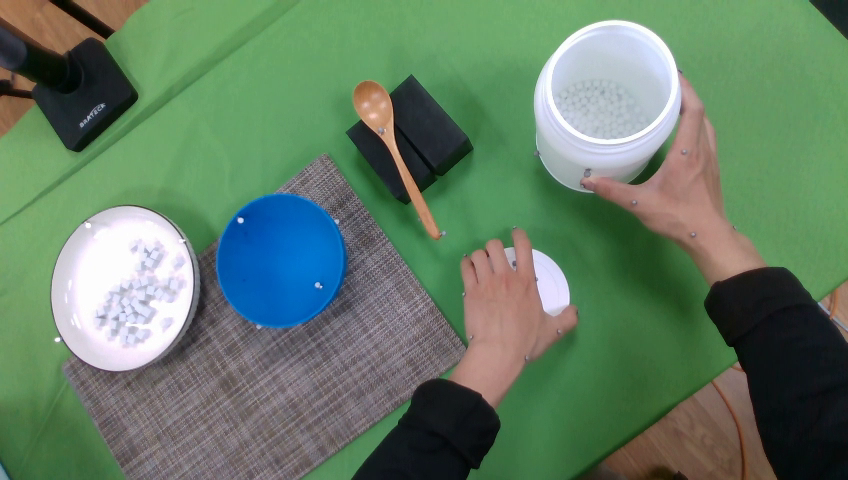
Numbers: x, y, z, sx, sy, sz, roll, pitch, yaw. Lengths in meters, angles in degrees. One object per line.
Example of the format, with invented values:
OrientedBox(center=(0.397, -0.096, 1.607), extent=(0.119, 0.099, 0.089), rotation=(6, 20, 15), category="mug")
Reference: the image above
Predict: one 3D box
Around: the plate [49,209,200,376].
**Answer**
OrientedBox(center=(-0.372, 0.066, 0.764), extent=(0.208, 0.038, 0.208), rotation=(-2, 83, 13), category="plate")

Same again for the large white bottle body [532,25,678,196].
OrientedBox(center=(0.173, -0.122, 0.601), extent=(0.130, 0.185, 0.130), rotation=(-1, 85, 11), category="large white bottle body")

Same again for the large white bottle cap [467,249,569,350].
OrientedBox(center=(0.106, 0.068, 0.685), extent=(0.114, 0.018, 0.114), rotation=(-1, 85, 10), category="large white bottle cap")

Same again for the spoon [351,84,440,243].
OrientedBox(center=(-0.030, -0.084, 0.675), extent=(0.041, 0.021, 0.193), rotation=(-25, 86, 3), category="spoon")

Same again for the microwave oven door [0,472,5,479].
OrientedBox(center=(-0.488, 0.413, 0.640), extent=(0.039, 0.245, 0.354), rotation=(-40, 79, 5), category="microwave oven door")

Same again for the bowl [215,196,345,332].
OrientedBox(center=(-0.154, 0.029, 0.703), extent=(0.151, 0.077, 0.151), rotation=(-1, 85, 11), category="bowl")
